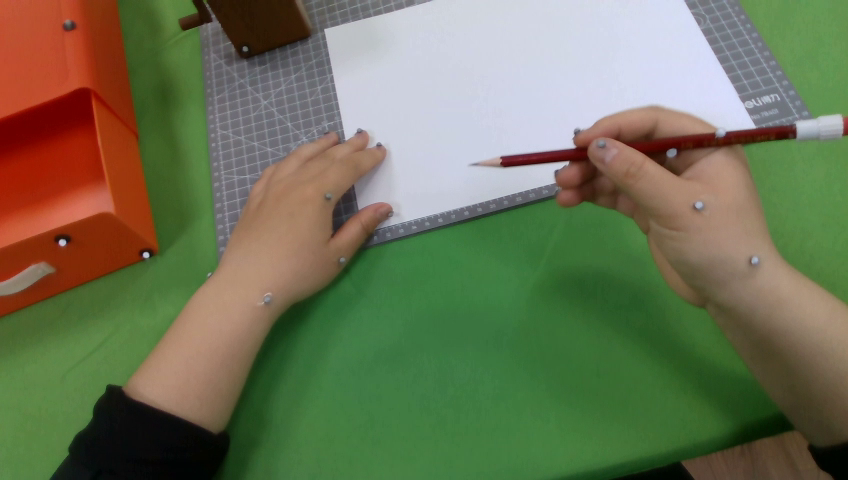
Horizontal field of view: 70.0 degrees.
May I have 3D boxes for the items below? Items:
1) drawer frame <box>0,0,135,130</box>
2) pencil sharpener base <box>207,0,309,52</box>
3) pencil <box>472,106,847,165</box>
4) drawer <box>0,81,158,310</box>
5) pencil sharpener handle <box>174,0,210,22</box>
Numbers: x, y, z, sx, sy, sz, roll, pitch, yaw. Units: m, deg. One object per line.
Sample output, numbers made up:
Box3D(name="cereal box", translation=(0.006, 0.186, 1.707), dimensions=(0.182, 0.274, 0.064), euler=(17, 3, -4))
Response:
Box3D(name="drawer frame", translation=(-0.373, -0.154, 0.525), dimensions=(0.202, 0.083, 0.211), euler=(-22, 64, -1))
Box3D(name="pencil sharpener base", translation=(-0.151, -0.221, 0.504), dimensions=(0.077, 0.108, 0.061), euler=(-20, 64, 0))
Box3D(name="pencil", translation=(0.119, -0.052, 0.321), dimensions=(0.193, 0.012, 0.012), euler=(-5, 64, 19))
Box3D(name="drawer", translation=(-0.331, -0.056, 0.476), dimensions=(0.194, 0.074, 0.210), euler=(-23, 64, -1))
Box3D(name="pencil sharpener handle", translation=(-0.201, -0.208, 0.492), dimensions=(0.030, 0.068, 0.035), euler=(-20, 61, 0))
